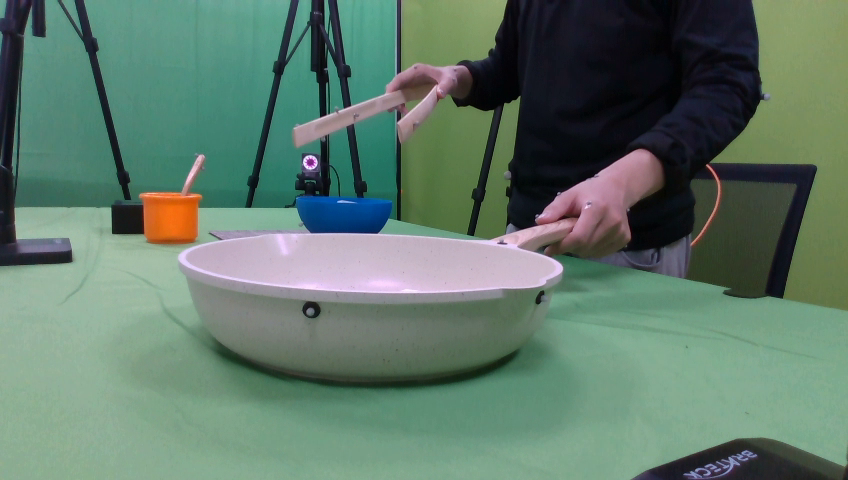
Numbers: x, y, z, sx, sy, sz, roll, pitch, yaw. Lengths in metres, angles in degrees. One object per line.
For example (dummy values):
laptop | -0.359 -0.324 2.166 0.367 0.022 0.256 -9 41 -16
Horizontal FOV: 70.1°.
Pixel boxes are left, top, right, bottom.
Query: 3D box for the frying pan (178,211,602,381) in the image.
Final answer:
frying pan | 0.035 0.019 0.556 0.490 0.102 0.305 -16 18 -42

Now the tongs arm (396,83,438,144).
tongs arm | -0.007 -0.197 0.899 0.028 0.028 0.387 -7 20 11

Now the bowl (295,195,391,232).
bowl | -0.127 -0.027 0.947 0.151 0.077 0.151 2 7 0

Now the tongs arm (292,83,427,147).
tongs arm | -0.080 -0.198 0.919 0.050 0.026 0.385 0 21 20

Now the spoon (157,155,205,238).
spoon | -0.392 -0.076 0.998 0.041 0.193 0.021 2 -37 5
